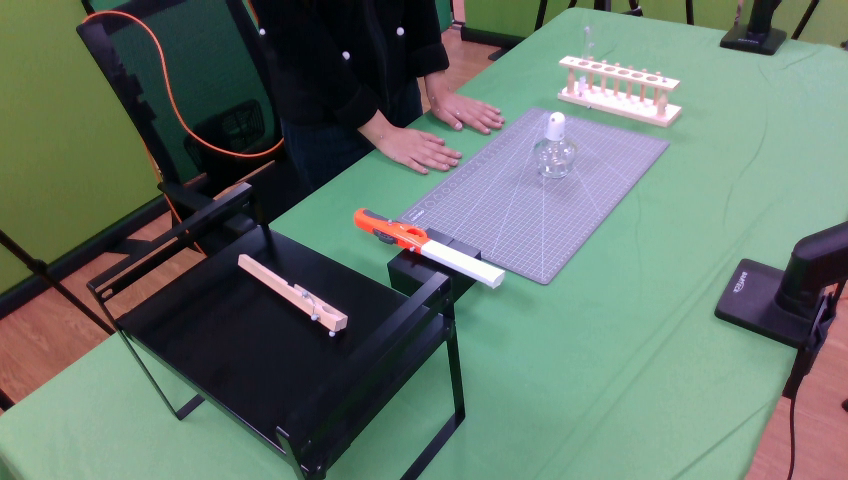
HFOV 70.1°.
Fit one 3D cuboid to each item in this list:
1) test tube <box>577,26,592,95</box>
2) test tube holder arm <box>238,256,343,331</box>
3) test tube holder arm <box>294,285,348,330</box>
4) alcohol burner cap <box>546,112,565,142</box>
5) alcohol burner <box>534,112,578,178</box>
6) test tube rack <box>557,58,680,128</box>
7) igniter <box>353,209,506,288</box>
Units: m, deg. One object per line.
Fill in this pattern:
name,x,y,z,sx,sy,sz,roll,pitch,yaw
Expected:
test tube,0.325,-0.361,1.227,0.017,0.151,0.017,-3,45,4
test tube holder arm,-0.150,0.054,0.657,0.177,0.015,0.013,25,17,35
test tube holder arm,-0.113,0.070,0.636,0.087,0.015,0.010,25,17,35
alcohol burner cap,0.229,-0.197,1.042,0.034,0.048,0.033,-1,46,2
alcohol burner,0.232,-0.170,1.065,0.078,0.119,0.077,-5,39,5
test tube rack,0.395,-0.309,1.230,0.240,0.085,0.067,25,50,33
igniter,-0.003,0.007,0.892,0.274,0.025,0.057,24,37,31
